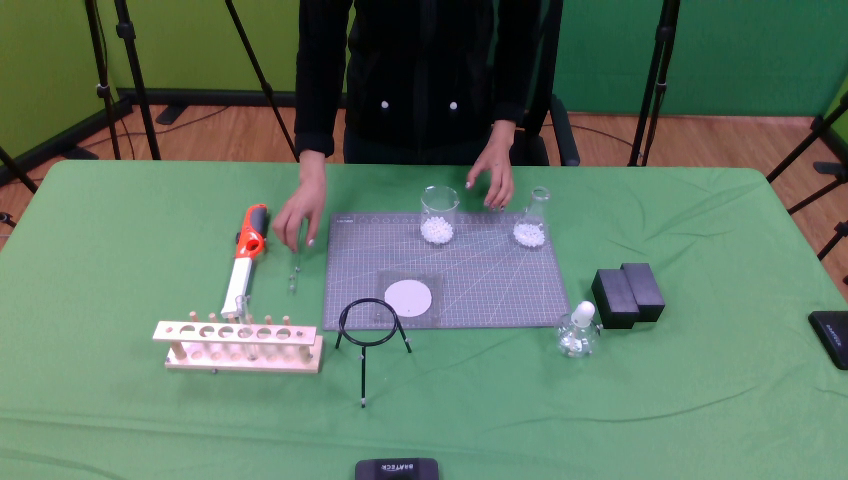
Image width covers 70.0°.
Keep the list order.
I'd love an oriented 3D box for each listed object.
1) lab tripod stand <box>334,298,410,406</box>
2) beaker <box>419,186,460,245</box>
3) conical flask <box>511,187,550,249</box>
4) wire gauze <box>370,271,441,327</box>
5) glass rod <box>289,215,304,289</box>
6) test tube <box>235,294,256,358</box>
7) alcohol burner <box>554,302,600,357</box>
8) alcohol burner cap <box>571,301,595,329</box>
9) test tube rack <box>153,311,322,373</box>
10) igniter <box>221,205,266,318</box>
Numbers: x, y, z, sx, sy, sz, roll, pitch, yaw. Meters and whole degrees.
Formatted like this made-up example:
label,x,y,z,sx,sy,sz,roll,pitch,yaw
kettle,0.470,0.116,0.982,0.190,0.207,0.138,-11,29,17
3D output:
label,x,y,z,sx,sy,sz,roll,pitch,yaw
lab tripod stand,-0.086,0.164,0.957,0.148,0.132,0.147,3,44,-2
beaker,0.025,-0.047,1.190,0.074,0.101,0.083,-29,54,-28
conical flask,0.217,-0.048,1.190,0.075,0.122,0.075,2,46,-2
wire gauze,-0.032,0.103,1.104,0.125,0.011,0.121,4,46,3
glass rod,-0.246,0.019,1.171,0.008,0.008,0.198,1,44,-3
test tube,-0.274,0.136,0.933,0.017,0.151,0.017,4,46,-4
alcohol burner,0.260,0.143,1.018,0.078,0.119,0.077,3,45,-3
alcohol burner cap,0.262,0.120,0.991,0.034,0.048,0.033,1,52,-2
test tube rack,-0.293,0.160,0.978,0.242,0.085,0.066,3,46,-2
igniter,-0.337,0.030,1.140,0.057,0.025,0.274,-6,46,4
